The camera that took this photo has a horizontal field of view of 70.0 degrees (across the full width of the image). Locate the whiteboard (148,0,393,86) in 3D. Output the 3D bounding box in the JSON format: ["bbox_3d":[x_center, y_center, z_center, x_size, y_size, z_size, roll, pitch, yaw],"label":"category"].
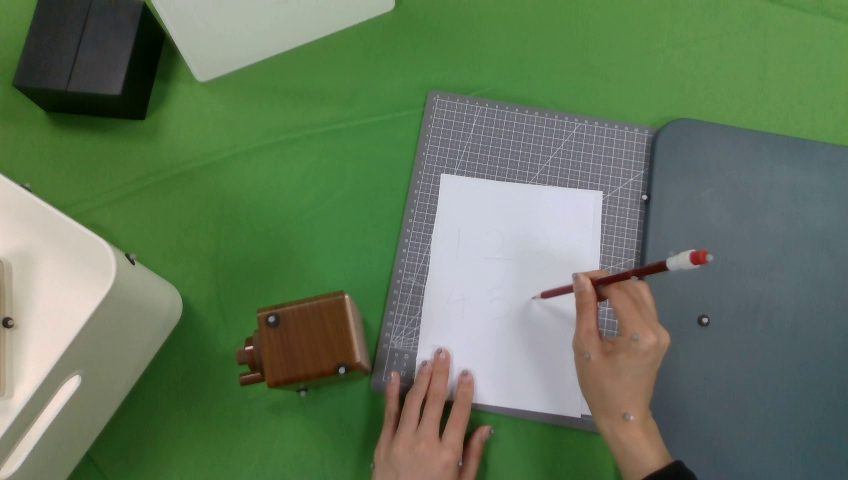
[{"bbox_3d":[-0.175,-0.331,0.527,0.217,0.308,0.142,-23,57,-6],"label":"whiteboard"}]

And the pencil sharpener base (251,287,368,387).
[{"bbox_3d":[-0.091,0.083,0.495,0.077,0.107,0.061,-12,76,-4],"label":"pencil sharpener base"}]

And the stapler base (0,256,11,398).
[{"bbox_3d":[-0.388,0.075,0.526,0.041,0.024,0.130,-11,78,-2],"label":"stapler base"}]

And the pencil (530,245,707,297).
[{"bbox_3d":[0.138,0.029,0.473,0.012,0.194,0.012,6,74,-24],"label":"pencil"}]

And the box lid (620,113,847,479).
[{"bbox_3d":[0.324,0.065,0.559,0.263,0.015,0.369,10,76,0],"label":"box lid"}]

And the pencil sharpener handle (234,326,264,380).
[{"bbox_3d":[-0.140,0.095,0.477,0.031,0.068,0.035,-12,59,-4],"label":"pencil sharpener handle"}]

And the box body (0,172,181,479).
[{"bbox_3d":[-0.414,0.044,0.468,0.363,0.161,0.253,30,77,6],"label":"box body"}]
